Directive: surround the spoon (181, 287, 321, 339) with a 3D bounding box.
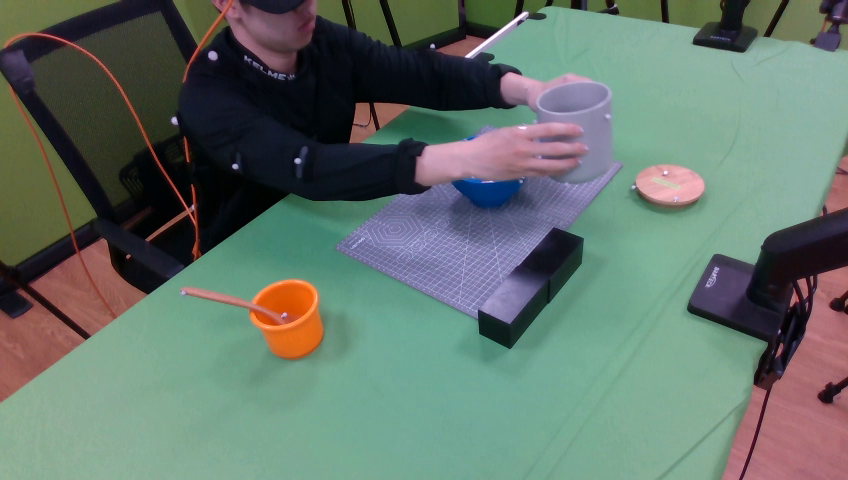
[{"bbox_3d":[-0.223,0.093,0.796,0.021,0.195,0.041,-46,36,24],"label":"spoon"}]

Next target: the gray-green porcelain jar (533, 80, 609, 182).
[{"bbox_3d":[0.221,-0.158,0.900,0.106,0.127,0.105,-9,37,7],"label":"gray-green porcelain jar"}]

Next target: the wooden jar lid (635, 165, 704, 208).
[{"bbox_3d":[0.410,-0.089,1.015,0.108,0.021,0.108,-5,41,5],"label":"wooden jar lid"}]

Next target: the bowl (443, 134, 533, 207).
[{"bbox_3d":[0.111,-0.109,1.033,0.151,0.077,0.150,-3,40,3],"label":"bowl"}]
